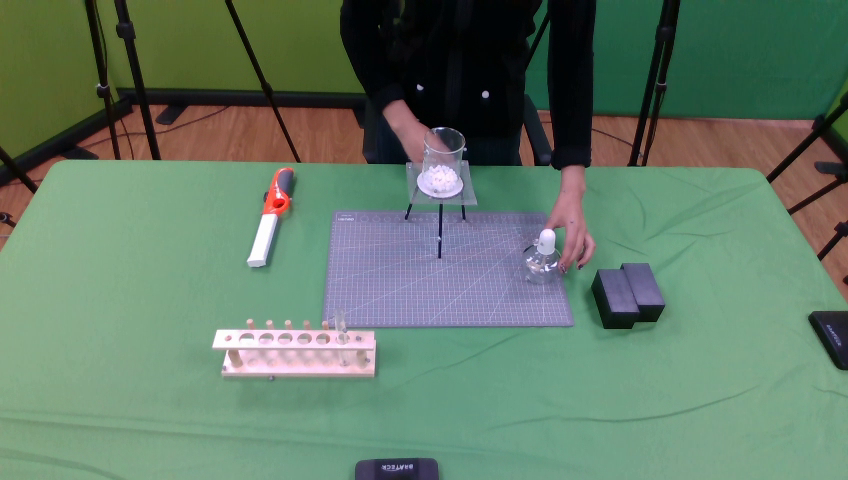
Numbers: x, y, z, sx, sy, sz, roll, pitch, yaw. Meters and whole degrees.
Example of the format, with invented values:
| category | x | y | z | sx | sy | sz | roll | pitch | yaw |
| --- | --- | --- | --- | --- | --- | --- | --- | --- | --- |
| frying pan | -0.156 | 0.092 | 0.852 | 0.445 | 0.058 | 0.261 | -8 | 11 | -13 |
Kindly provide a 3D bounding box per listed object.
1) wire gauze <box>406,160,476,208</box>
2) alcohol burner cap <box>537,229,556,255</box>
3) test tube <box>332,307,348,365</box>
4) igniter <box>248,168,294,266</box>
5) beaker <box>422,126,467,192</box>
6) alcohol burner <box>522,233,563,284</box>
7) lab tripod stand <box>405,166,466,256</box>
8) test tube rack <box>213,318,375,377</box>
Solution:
| category | x | y | z | sx | sy | sz | roll | pitch | yaw |
| --- | --- | --- | --- | --- | --- | --- | --- | --- | --- |
| wire gauze | 0.031 | -0.107 | 1.130 | 0.125 | 0.011 | 0.120 | 1 | 48 | -7 |
| alcohol burner cap | 0.223 | 0.001 | 1.096 | 0.034 | 0.048 | 0.033 | -1 | 43 | 1 |
| test tube | -0.128 | 0.151 | 0.931 | 0.017 | 0.151 | 0.017 | 1 | 50 | -2 |
| igniter | -0.308 | -0.055 | 1.225 | 0.057 | 0.025 | 0.275 | -3 | 46 | 6 |
| beaker | 0.032 | -0.146 | 1.100 | 0.074 | 0.101 | 0.083 | -16 | 50 | -20 |
| alcohol burner | 0.223 | 0.026 | 1.121 | 0.078 | 0.119 | 0.077 | 2 | 48 | -2 |
| lab tripod stand | 0.030 | -0.063 | 1.180 | 0.148 | 0.132 | 0.147 | 3 | 47 | -3 |
| test tube rack | -0.202 | 0.170 | 0.977 | 0.242 | 0.085 | 0.066 | 1 | 46 | -3 |
